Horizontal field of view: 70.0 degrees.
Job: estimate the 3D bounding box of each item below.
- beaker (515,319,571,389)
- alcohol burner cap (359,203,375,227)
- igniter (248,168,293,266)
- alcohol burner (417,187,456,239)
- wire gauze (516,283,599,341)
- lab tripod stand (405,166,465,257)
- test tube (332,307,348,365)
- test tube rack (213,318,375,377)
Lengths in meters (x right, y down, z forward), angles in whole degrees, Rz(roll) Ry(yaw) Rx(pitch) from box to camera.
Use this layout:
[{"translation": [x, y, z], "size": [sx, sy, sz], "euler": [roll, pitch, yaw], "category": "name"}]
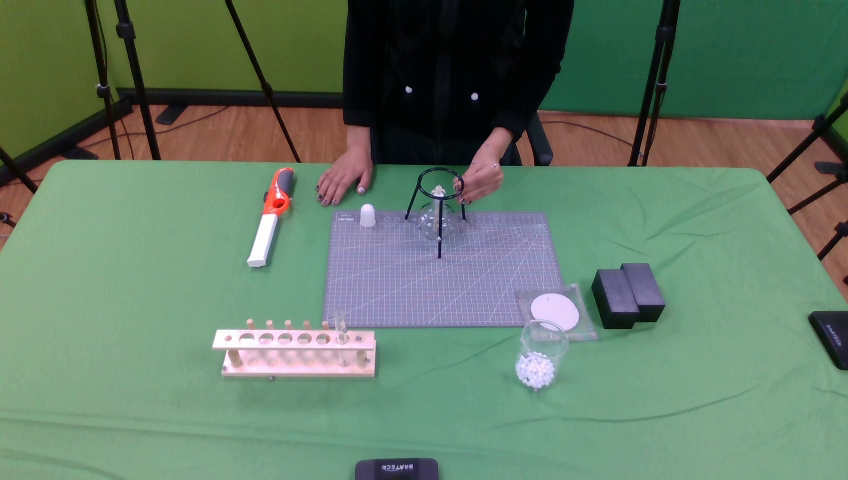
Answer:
[{"translation": [0.186, 0.186, 0.980], "size": [0.074, 0.101, 0.083], "euler": [-23, 51, -24], "category": "beaker"}, {"translation": [-0.115, -0.053, 1.224], "size": [0.034, 0.048, 0.033], "euler": [3, 47, -3], "category": "alcohol burner cap"}, {"translation": [-0.307, -0.055, 1.225], "size": [0.057, 0.025, 0.275], "euler": [-3, 46, 6], "category": "igniter"}, {"translation": [0.026, -0.059, 1.189], "size": [0.078, 0.120, 0.077], "euler": [1, 48, -1], "category": "alcohol burner"}, {"translation": [0.240, 0.131, 1.094], "size": [0.125, 0.011, 0.120], "euler": [-3, 47, -8], "category": "wire gauze"}, {"translation": [0.030, -0.063, 1.180], "size": [0.148, 0.132, 0.147], "euler": [3, 47, -3], "category": "lab tripod stand"}, {"translation": [-0.128, 0.151, 0.931], "size": [0.017, 0.151, 0.017], "euler": [1, 50, -2], "category": "test tube"}, {"translation": [-0.202, 0.169, 0.977], "size": [0.242, 0.085, 0.066], "euler": [1, 46, -3], "category": "test tube rack"}]
